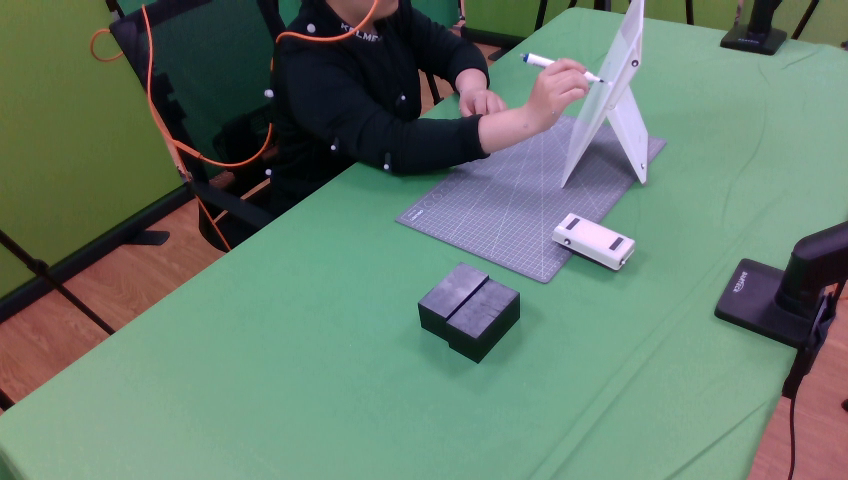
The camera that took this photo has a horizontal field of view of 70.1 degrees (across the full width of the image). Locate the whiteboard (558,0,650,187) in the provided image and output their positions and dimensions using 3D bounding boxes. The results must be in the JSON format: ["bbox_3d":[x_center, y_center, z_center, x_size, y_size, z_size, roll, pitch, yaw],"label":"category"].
[{"bbox_3d":[0.362,-0.238,1.026,0.144,0.306,0.217,21,45,4],"label":"whiteboard"}]

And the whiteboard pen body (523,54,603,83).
[{"bbox_3d":[0.233,-0.283,1.007,0.141,0.017,0.017,16,42,-4],"label":"whiteboard pen body"}]

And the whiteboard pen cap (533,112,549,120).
[{"bbox_3d":[0.239,-0.254,1.238,0.018,0.018,0.033,-29,27,-23],"label":"whiteboard pen cap"}]

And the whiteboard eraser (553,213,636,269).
[{"bbox_3d":[0.258,0.003,0.918,0.112,0.042,0.056,27,50,30],"label":"whiteboard eraser"}]
